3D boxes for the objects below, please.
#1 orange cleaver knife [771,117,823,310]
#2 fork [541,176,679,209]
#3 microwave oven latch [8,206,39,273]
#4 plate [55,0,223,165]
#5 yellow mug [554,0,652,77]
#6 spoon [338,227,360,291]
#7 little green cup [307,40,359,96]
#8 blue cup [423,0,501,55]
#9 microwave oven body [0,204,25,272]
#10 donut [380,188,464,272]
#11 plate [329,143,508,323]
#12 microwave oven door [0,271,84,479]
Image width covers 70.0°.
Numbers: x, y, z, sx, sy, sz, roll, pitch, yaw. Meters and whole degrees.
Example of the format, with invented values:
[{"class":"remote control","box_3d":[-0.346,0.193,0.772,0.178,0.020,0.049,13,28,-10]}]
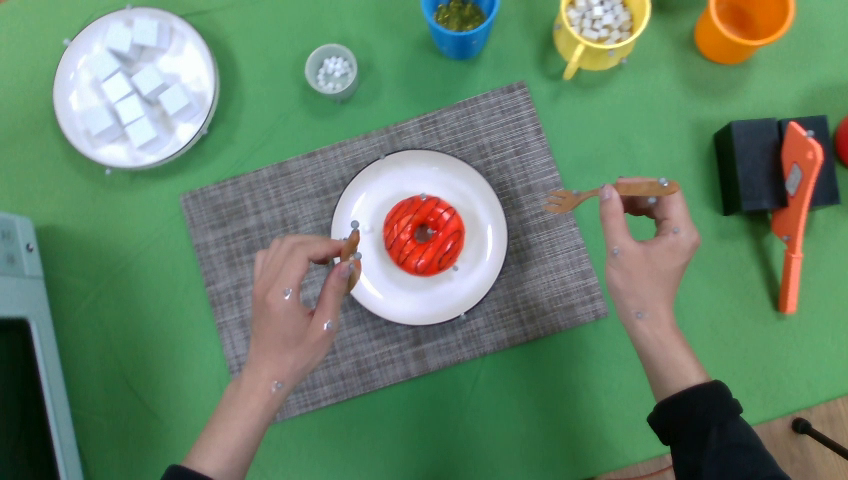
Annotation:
[{"class":"orange cleaver knife","box_3d":[0.401,-0.025,0.666,0.012,0.076,0.213,-3,114,6]},{"class":"fork","box_3d":[0.162,-0.045,0.559,0.019,0.206,0.028,33,82,-12]},{"class":"microwave oven latch","box_3d":[-0.486,0.001,0.724,0.030,0.029,0.079,-13,84,2]},{"class":"plate","box_3d":[-0.348,-0.193,0.752,0.207,0.039,0.207,0,84,4]},{"class":"yellow mug","box_3d":[0.199,-0.249,0.708,0.100,0.064,0.131,30,88,6]},{"class":"spoon","box_3d":[-0.068,0.016,0.532,0.022,0.194,0.041,11,77,-4]},{"class":"little green cup","box_3d":[-0.108,-0.207,0.738,0.061,0.039,0.061,0,84,4]},{"class":"blue cup","box_3d":[0.044,-0.262,0.702,0.092,0.100,0.092,0,86,3]},{"class":"microwave oven body","box_3d":[-0.591,0.199,0.615,0.326,0.261,0.440,-15,84,2]},{"class":"donut","box_3d":[-0.002,-0.011,0.698,0.099,0.048,0.099,0,85,5]},{"class":"plate","box_3d":[-0.006,-0.008,0.709,0.209,0.038,0.208,0,85,4]},{"class":"microwave oven door","box_3d":[-0.440,0.201,0.600,0.039,0.244,0.354,-15,83,2]}]
